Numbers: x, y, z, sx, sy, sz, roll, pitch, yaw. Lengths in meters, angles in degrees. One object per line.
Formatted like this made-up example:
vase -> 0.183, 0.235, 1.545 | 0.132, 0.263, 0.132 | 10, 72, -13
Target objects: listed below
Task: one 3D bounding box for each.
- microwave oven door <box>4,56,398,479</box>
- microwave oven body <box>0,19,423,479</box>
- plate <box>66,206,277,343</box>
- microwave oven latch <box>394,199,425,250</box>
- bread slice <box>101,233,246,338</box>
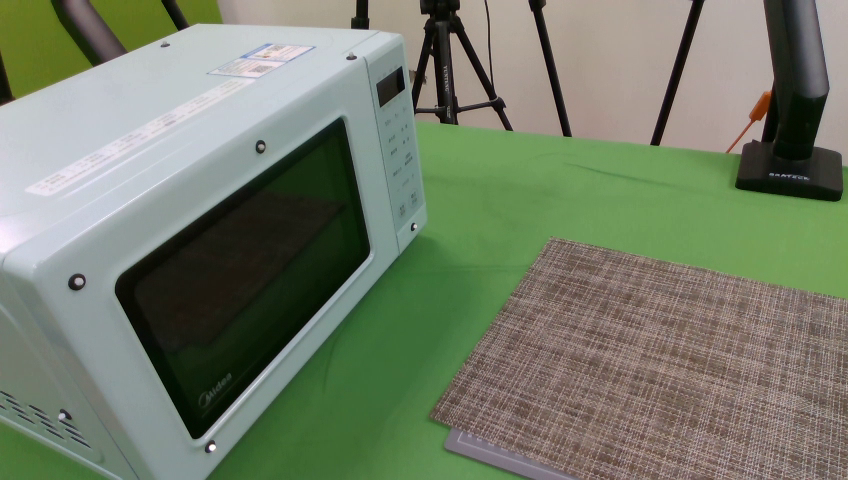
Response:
microwave oven door -> -0.139, 0.015, 0.531 | 0.039, 0.246, 0.354 | 11, 39, 26
microwave oven body -> -0.249, -0.029, 0.626 | 0.324, 0.262, 0.440 | 12, 40, 25
plate -> -0.253, 0.035, 0.627 | 0.209, 0.038, 0.207 | -6, 34, 4
microwave oven latch -> -0.026, -0.021, 0.743 | 0.030, 0.030, 0.079 | 12, 40, 26
bread slice -> -0.256, 0.037, 0.632 | 0.104, 0.019, 0.131 | 20, 47, 32
